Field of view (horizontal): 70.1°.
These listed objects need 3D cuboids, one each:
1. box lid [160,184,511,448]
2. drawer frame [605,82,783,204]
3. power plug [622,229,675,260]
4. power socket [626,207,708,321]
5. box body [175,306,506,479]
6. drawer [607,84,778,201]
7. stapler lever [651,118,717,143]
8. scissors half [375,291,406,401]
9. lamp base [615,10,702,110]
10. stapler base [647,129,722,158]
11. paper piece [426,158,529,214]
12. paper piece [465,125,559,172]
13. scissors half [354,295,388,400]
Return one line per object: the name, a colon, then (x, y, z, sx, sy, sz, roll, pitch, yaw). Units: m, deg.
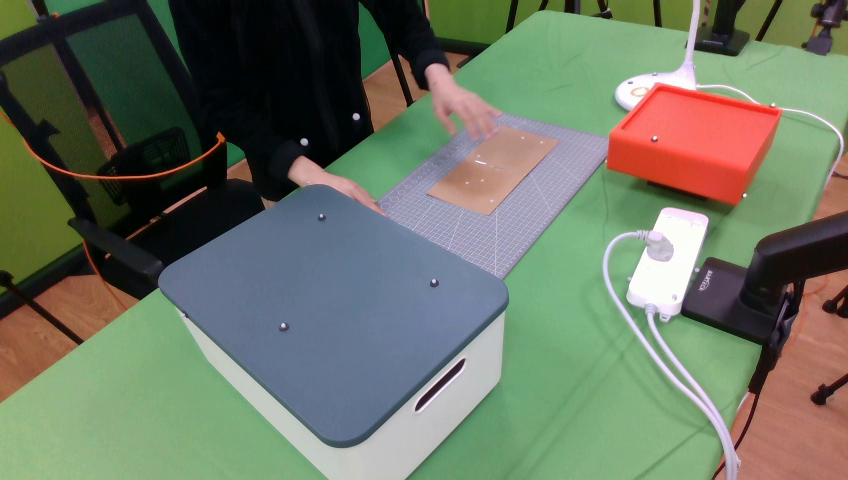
box lid: (-0.114, 0.054, 0.705, 0.368, 0.015, 0.264, 29, 51, 34)
drawer frame: (0.441, -0.167, 0.995, 0.212, 0.083, 0.202, 23, 48, 30)
power plug: (0.327, 0.007, 0.878, 0.072, 0.053, 0.035, 25, 51, 33)
power socket: (0.360, 0.026, 0.886, 0.072, 0.033, 0.227, 16, 46, 26)
box body: (-0.105, 0.111, 0.751, 0.361, 0.161, 0.255, 28, 52, 34)
drawer: (0.438, -0.167, 0.995, 0.210, 0.073, 0.195, 23, 48, 30)
stapler lever: (0.436, -0.192, 1.014, 0.118, 0.040, 0.026, -15, 24, -16)
scissors half: (-0.048, 0.138, 0.816, 0.040, 0.013, 0.174, -5, 46, 9)
lamp base: (0.484, -0.364, 1.211, 0.180, 0.181, 0.159, -15, 41, -14)
stapler base: (0.439, -0.167, 1.023, 0.131, 0.024, 0.041, -17, 25, -15)
paper piece: (0.097, -0.103, 1.090, 0.134, 0.004, 0.136, 25, 48, 32)
paper piece: (0.172, -0.177, 1.168, 0.137, 0.009, 0.136, 21, 44, 30)
scissors half: (-0.068, 0.142, 0.818, 0.040, 0.013, 0.174, -21, 44, 1)
